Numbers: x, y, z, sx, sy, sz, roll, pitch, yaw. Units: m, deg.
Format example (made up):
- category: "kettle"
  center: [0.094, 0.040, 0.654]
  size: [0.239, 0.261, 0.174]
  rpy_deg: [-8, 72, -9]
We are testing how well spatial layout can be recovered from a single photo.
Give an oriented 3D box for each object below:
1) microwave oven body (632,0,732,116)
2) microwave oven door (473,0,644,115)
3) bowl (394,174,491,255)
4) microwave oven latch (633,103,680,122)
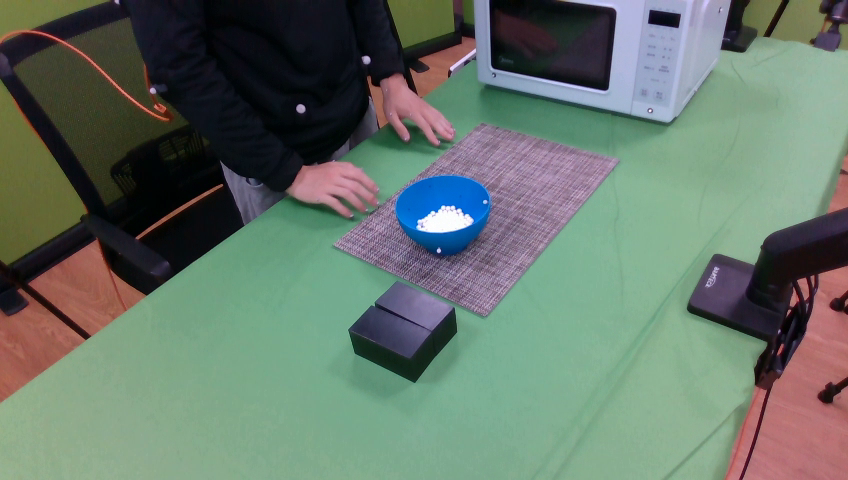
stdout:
- category: "microwave oven body"
  center: [0.377, -0.462, 1.267]
  size: [0.438, 0.261, 0.327]
  rpy_deg: [21, 48, 30]
- category: "microwave oven door"
  center: [0.257, -0.396, 1.199]
  size: [0.353, 0.245, 0.039]
  rpy_deg: [21, 48, 29]
- category: "bowl"
  center: [0.032, -0.030, 0.949]
  size: [0.151, 0.077, 0.150]
  rpy_deg: [-4, 40, 4]
- category: "microwave oven latch"
  center: [0.443, -0.249, 1.157]
  size: [0.078, 0.029, 0.030]
  rpy_deg: [20, 48, 30]
